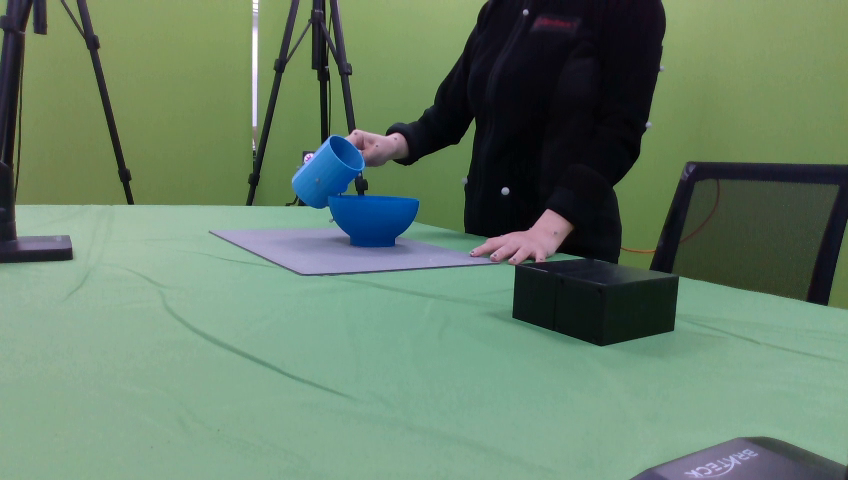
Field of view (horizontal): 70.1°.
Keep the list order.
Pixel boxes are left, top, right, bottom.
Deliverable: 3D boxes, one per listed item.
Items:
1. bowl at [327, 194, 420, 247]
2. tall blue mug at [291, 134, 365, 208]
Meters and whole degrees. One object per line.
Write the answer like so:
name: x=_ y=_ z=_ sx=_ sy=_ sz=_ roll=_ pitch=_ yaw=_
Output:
bowl: x=-0.083 y=-0.032 z=0.988 sx=0.151 sy=0.077 sz=0.151 roll=2 pitch=7 yaw=0
tall blue mug: x=-0.163 y=-0.125 z=1.038 sx=0.078 sy=0.107 sz=0.107 roll=34 pitch=32 yaw=-27
